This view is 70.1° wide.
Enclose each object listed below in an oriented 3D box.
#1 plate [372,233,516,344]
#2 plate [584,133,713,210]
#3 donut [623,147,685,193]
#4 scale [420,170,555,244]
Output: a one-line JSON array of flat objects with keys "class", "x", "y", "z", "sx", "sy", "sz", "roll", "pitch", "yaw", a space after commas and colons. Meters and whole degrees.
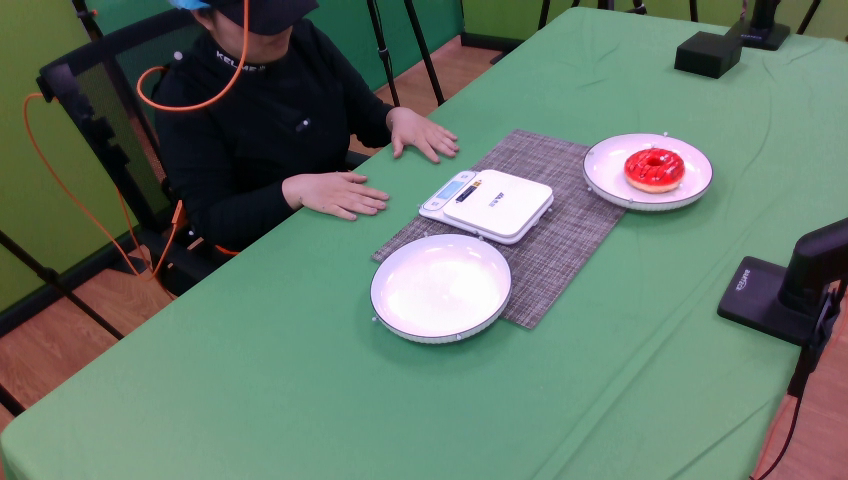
[{"class": "plate", "x": 0.030, "y": 0.072, "z": 0.880, "sx": 0.207, "sy": 0.039, "sz": 0.206, "roll": -6, "pitch": 42, "yaw": 6}, {"class": "plate", "x": 0.379, "y": -0.113, "z": 1.030, "sx": 0.209, "sy": 0.038, "sz": 0.208, "roll": -4, "pitch": 41, "yaw": 4}, {"class": "donut", "x": 0.388, "y": -0.119, "z": 1.019, "sx": 0.099, "sy": 0.048, "sz": 0.098, "roll": -4, "pitch": 42, "yaw": 4}, {"class": "scale", "x": 0.106, "y": -0.065, "z": 1.029, "sx": 0.199, "sy": 0.032, "sz": 0.149, "roll": 21, "pitch": 48, "yaw": 32}]
